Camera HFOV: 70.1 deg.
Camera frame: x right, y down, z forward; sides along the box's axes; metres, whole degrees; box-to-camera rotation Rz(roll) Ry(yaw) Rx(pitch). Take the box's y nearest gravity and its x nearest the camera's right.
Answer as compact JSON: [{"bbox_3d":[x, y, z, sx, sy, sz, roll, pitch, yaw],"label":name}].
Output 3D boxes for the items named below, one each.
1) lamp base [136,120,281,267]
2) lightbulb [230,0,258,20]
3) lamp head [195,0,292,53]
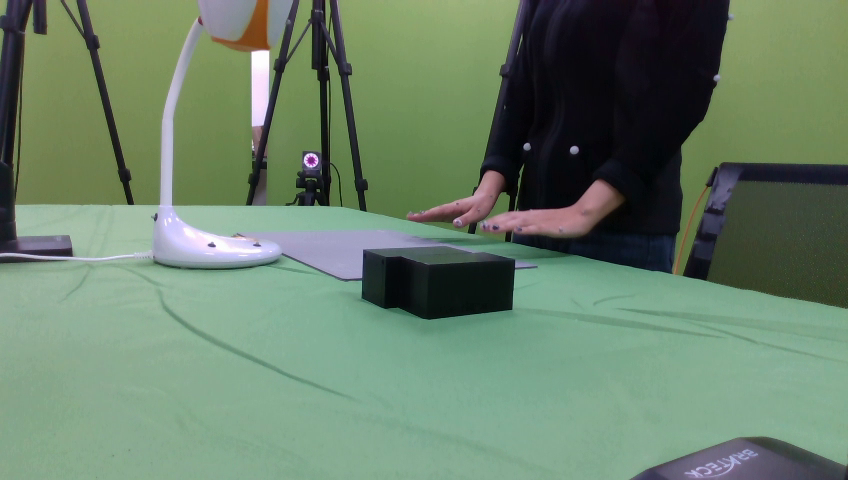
[{"bbox_3d":[-0.275,-0.061,0.773,0.160,0.180,0.180,9,13,44],"label":"lamp base"},{"bbox_3d":[-0.175,-0.276,0.604,0.059,0.107,0.059,10,11,-2],"label":"lightbulb"},{"bbox_3d":[-0.185,-0.254,0.611,0.112,0.123,0.112,10,20,-3],"label":"lamp head"}]
